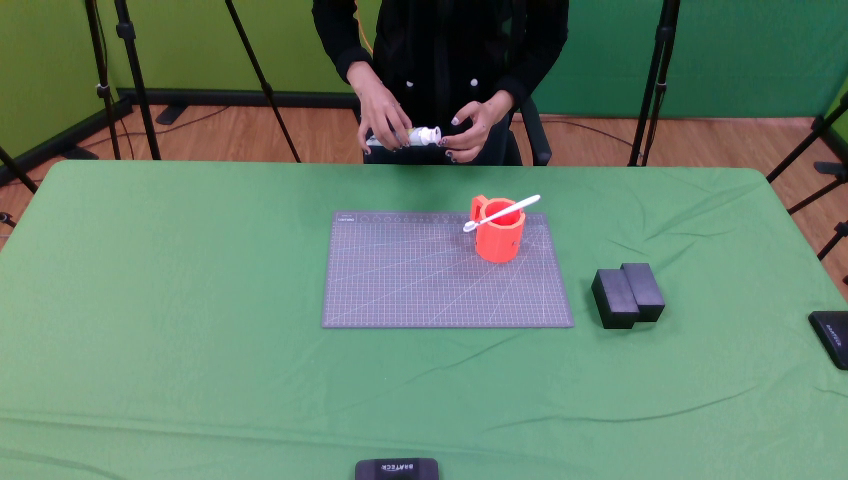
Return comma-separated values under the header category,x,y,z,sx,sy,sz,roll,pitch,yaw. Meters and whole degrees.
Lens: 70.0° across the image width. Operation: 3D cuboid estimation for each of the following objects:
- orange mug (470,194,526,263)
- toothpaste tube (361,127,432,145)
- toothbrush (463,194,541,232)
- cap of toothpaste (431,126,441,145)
category,x,y,z,sx,sy,sz,roll,pitch,yaw
orange mug,0.136,-0.030,1.180,0.083,0.101,0.125,-26,58,-26
toothpaste tube,-0.047,-0.206,1.208,0.164,0.035,0.055,4,32,31
toothbrush,0.149,-0.054,1.131,0.182,0.017,0.014,-23,46,-24
cap of toothpaste,0.022,-0.201,1.165,0.011,0.037,0.037,2,44,20
